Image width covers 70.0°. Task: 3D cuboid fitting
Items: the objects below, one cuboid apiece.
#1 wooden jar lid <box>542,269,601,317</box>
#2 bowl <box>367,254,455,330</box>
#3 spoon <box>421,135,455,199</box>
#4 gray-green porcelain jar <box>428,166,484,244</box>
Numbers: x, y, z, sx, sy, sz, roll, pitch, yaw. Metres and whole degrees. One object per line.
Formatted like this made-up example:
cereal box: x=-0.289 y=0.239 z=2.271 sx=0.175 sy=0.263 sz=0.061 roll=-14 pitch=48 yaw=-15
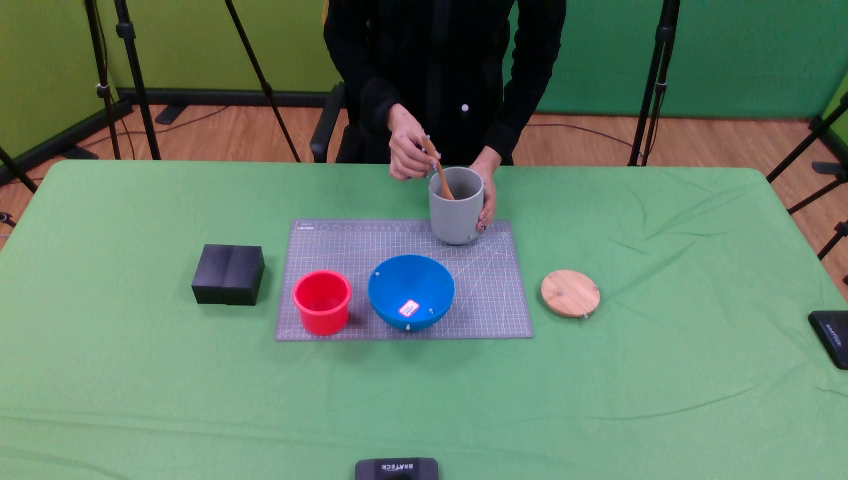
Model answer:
wooden jar lid: x=0.272 y=0.100 z=1.121 sx=0.108 sy=0.021 sz=0.107 roll=3 pitch=47 yaw=-3
bowl: x=-0.024 y=0.104 z=1.053 sx=0.151 sy=0.077 sz=0.150 roll=2 pitch=46 yaw=-2
spoon: x=0.031 y=-0.116 z=1.112 sx=0.041 sy=0.195 sz=0.021 roll=18 pitch=54 yaw=40
gray-green porcelain jar: x=0.064 y=-0.064 z=1.181 sx=0.106 sy=0.127 sz=0.105 roll=-3 pitch=45 yaw=3
